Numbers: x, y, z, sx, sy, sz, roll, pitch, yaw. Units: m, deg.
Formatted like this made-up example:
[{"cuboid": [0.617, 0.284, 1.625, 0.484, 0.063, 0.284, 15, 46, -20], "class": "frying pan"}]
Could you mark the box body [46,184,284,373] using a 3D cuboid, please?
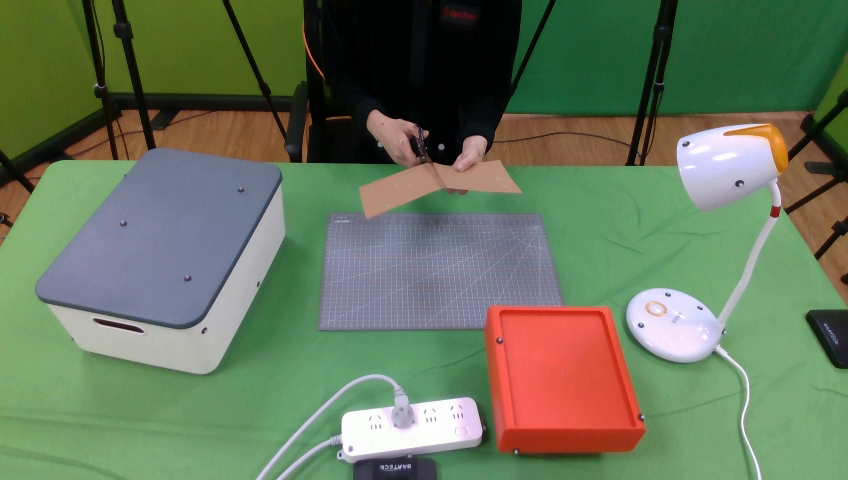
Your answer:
[{"cuboid": [-0.414, 0.029, 1.039, 0.254, 0.161, 0.362, 10, 46, 5], "class": "box body"}]

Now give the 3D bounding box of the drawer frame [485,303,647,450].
[{"cuboid": [0.204, 0.202, 0.917, 0.202, 0.083, 0.212, 1, 47, -4], "class": "drawer frame"}]

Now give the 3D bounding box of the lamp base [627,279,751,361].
[{"cuboid": [0.460, 0.100, 1.027, 0.178, 0.181, 0.160, 27, 51, 17], "class": "lamp base"}]

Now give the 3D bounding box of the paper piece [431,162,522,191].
[{"cuboid": [0.085, -0.110, 1.034, 0.136, 0.009, 0.137, 5, 23, -13], "class": "paper piece"}]

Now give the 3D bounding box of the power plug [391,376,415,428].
[{"cuboid": [-0.030, 0.249, 0.917, 0.035, 0.053, 0.072, 3, 46, 0], "class": "power plug"}]

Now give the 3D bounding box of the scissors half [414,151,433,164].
[{"cuboid": [0.000, -0.145, 1.116, 0.013, 0.040, 0.174, -5, 8, -9], "class": "scissors half"}]

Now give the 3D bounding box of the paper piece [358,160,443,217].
[{"cuboid": [-0.043, -0.090, 1.018, 0.135, 0.004, 0.135, -21, 28, 0], "class": "paper piece"}]

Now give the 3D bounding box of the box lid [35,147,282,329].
[{"cuboid": [-0.411, -0.023, 0.987, 0.263, 0.015, 0.369, 10, 47, 5], "class": "box lid"}]

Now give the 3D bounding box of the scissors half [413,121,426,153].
[{"cuboid": [0.000, -0.167, 1.106, 0.013, 0.040, 0.174, -9, 44, -7], "class": "scissors half"}]

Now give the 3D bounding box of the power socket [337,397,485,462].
[{"cuboid": [-0.018, 0.285, 0.915, 0.227, 0.033, 0.071, -4, 46, -8], "class": "power socket"}]

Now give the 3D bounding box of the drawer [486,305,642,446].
[{"cuboid": [0.202, 0.200, 0.918, 0.195, 0.073, 0.210, 2, 47, -4], "class": "drawer"}]

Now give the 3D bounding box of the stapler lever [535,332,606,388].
[{"cuboid": [0.225, 0.181, 0.928, 0.118, 0.040, 0.027, 27, 34, 15], "class": "stapler lever"}]

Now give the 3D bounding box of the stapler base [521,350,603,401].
[{"cuboid": [0.217, 0.203, 0.942, 0.130, 0.024, 0.041, 26, 34, 16], "class": "stapler base"}]

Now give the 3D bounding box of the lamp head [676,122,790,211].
[{"cuboid": [0.423, -0.104, 0.819, 0.122, 0.113, 0.112, -13, 33, 40], "class": "lamp head"}]
